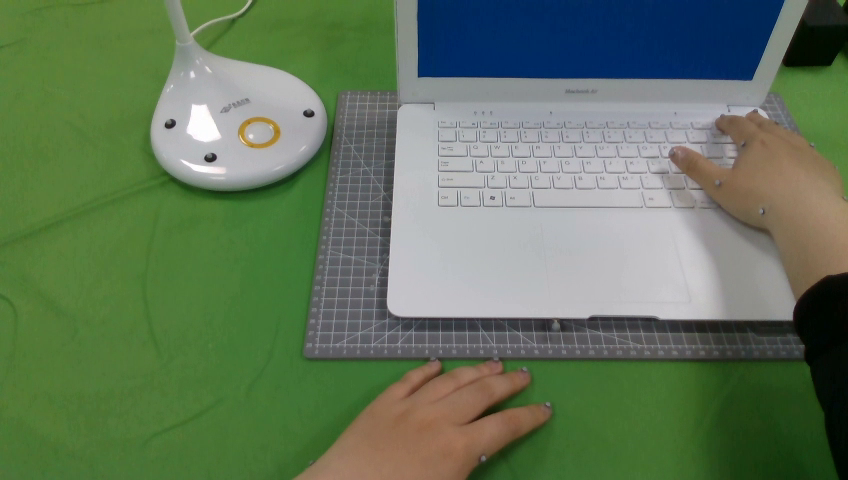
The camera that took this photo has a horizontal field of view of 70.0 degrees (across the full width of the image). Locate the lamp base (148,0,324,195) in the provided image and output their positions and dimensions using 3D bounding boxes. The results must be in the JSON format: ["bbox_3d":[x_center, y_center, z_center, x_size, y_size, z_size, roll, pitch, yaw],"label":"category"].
[{"bbox_3d":[-0.185,-0.156,0.515,0.178,0.182,0.160,31,58,25],"label":"lamp base"}]

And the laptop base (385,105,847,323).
[{"bbox_3d":[0.147,-0.030,0.520,0.354,0.023,0.233,0,56,0],"label":"laptop base"}]

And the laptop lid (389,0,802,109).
[{"bbox_3d":[0.146,-0.210,0.508,0.357,0.244,0.013,-1,45,1],"label":"laptop lid"}]
